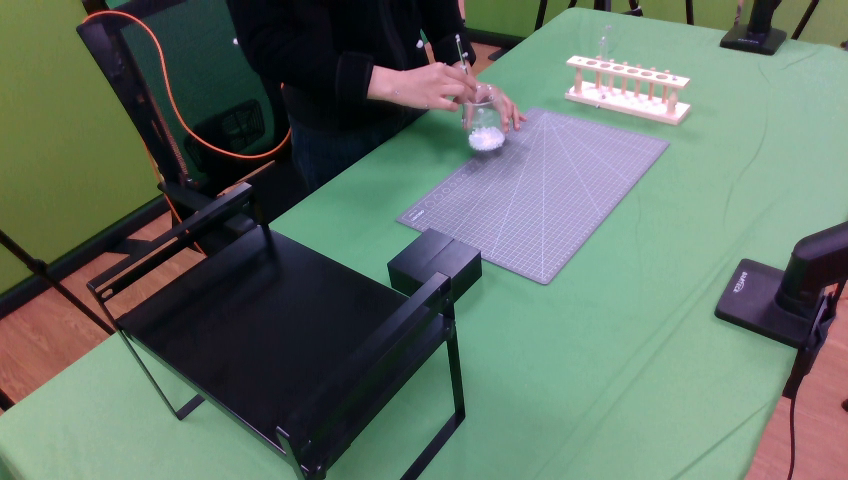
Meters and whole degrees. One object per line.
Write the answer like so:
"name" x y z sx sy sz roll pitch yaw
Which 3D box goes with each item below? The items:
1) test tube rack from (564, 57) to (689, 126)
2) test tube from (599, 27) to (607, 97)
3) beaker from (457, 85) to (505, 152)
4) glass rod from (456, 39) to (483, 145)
"test tube rack" 0.411 -0.311 1.230 0.240 0.085 0.067 23 49 32
"test tube" 0.358 -0.353 1.210 0.017 0.151 0.017 -8 43 8
"beaker" 0.107 -0.219 1.098 0.083 0.101 0.074 2 41 17
"glass rod" 0.081 -0.253 1.052 0.008 0.201 0.008 -12 37 9
